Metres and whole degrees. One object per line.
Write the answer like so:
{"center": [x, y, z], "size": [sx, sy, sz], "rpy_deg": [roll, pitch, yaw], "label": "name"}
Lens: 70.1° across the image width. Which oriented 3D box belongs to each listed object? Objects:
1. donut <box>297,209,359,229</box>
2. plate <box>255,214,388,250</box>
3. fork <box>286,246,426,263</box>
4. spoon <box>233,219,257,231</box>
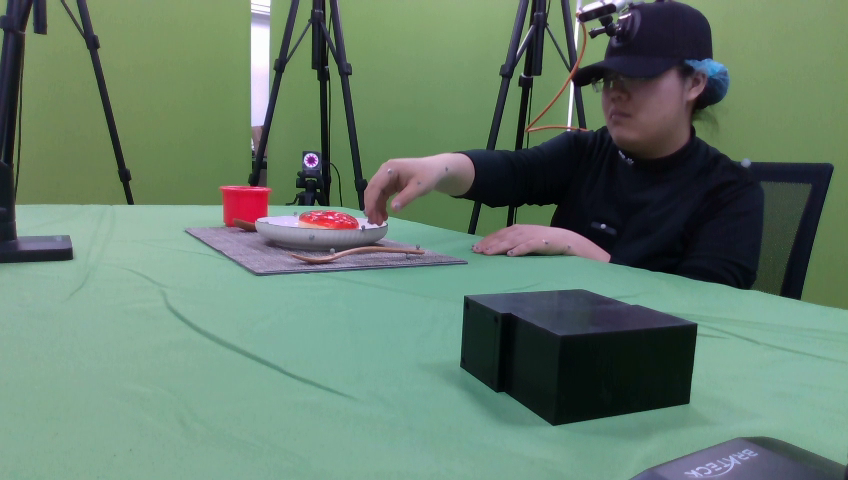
{"center": [-0.151, -0.023, 0.955], "size": [0.099, 0.048, 0.099], "rpy_deg": [6, 7, 0], "label": "donut"}
{"center": [-0.161, -0.013, 0.961], "size": [0.209, 0.038, 0.209], "rpy_deg": [2, 7, 0], "label": "plate"}
{"center": [-0.084, 0.019, 0.813], "size": [0.208, 0.018, 0.028], "rpy_deg": [-5, 2, -34], "label": "fork"}
{"center": [-0.250, -0.028, 1.108], "size": [0.195, 0.021, 0.041], "rpy_deg": [-2, -9, -29], "label": "spoon"}
